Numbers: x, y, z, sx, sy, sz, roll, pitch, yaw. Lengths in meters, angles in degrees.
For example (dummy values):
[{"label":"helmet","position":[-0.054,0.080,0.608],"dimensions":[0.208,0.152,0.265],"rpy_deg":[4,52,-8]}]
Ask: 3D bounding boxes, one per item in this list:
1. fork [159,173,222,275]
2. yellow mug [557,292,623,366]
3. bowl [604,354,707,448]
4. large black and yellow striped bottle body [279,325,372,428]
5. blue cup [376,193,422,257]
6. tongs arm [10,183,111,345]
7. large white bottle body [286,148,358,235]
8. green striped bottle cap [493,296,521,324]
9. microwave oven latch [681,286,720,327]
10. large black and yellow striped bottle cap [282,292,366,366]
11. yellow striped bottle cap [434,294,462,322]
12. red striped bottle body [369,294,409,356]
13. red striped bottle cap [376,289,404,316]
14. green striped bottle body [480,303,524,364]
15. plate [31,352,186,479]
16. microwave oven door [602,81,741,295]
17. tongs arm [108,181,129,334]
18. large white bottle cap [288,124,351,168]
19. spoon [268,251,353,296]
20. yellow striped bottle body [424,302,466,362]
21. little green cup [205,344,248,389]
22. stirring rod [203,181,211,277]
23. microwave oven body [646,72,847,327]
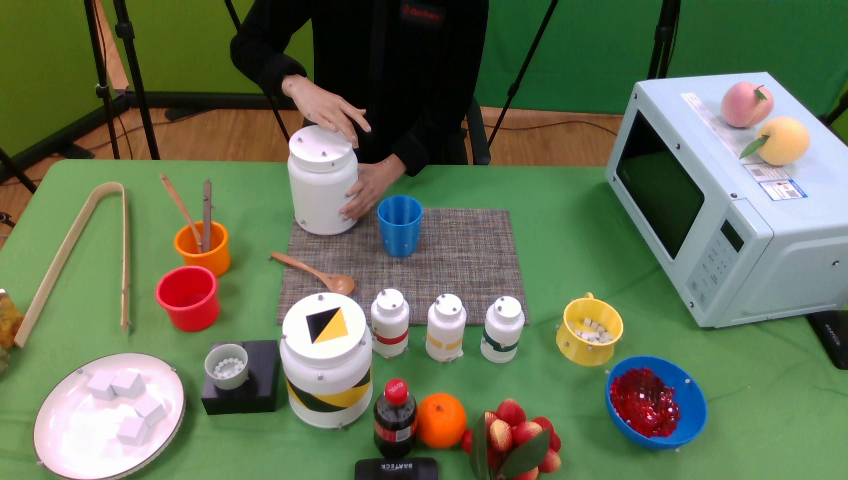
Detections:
[{"label":"fork","position":[-0.427,-0.029,1.103],"dimensions":[0.028,0.018,0.207],"rpy_deg":[-31,99,-31]},{"label":"yellow mug","position":[0.285,0.145,1.051],"dimensions":[0.100,0.064,0.130],"rpy_deg":[7,46,4]},{"label":"bowl","position":[0.346,0.261,0.937],"dimensions":[0.151,0.077,0.150],"rpy_deg":[2,46,-2]},{"label":"large black and yellow striped bottle body","position":[-0.143,0.181,0.900],"dimensions":[0.131,0.185,0.130],"rpy_deg":[2,46,-2]},{"label":"blue cup","position":[-0.047,-0.022,1.155],"dimensions":[0.093,0.101,0.092],"rpy_deg":[1,47,-1]},{"label":"tongs arm","position":[-0.658,0.027,1.109],"dimensions":[0.028,0.028,0.385],"rpy_deg":[-2,45,1]},{"label":"large white bottle body","position":[-0.196,-0.114,1.173],"dimensions":[0.131,0.185,0.130],"rpy_deg":[2,47,-2]},{"label":"green striped bottle cap","position":[0.133,0.111,0.962],"dimensions":[0.044,0.020,0.044],"rpy_deg":[2,47,-2]},{"label":"microwave oven latch","position":[0.494,0.119,1.086],"dimensions":[0.030,0.029,0.078],"rpy_deg":[-5,46,-9]},{"label":"large black and yellow striped bottle cap","position":[-0.138,0.121,0.841],"dimensions":[0.115,0.019,0.114],"rpy_deg":[3,47,-3]},{"label":"yellow striped bottle cap","position":[0.038,0.107,0.958],"dimensions":[0.044,0.019,0.044],"rpy_deg":[2,45,-2]},{"label":"red striped bottle body","position":[-0.059,0.134,0.997],"dimensions":[0.063,0.120,0.062],"rpy_deg":[5,48,-5]},{"label":"red striped bottle cap","position":[-0.054,0.098,0.958],"dimensions":[0.044,0.018,0.044],"rpy_deg":[0,48,1]},{"label":"green striped bottle body","position":[0.129,0.147,1.000],"dimensions":[0.063,0.120,0.063],"rpy_deg":[2,46,-2]},{"label":"plate","position":[-0.459,0.262,0.898],"dimensions":[0.209,0.038,0.208],"rpy_deg":[2,46,-2]},{"label":"microwave oven door","position":[0.456,-0.107,1.162],"dimensions":[0.039,0.245,0.353],"rpy_deg":[-7,47,-11]},{"label":"tongs arm","position":[-0.571,0.019,1.123],"dimensions":[0.051,0.026,0.382],"rpy_deg":[-10,47,-12]},{"label":"large white bottle cap","position":[-0.192,-0.174,1.113],"dimensions":[0.115,0.018,0.114],"rpy_deg":[2,46,-2]},{"label":"spoon","position":[-0.212,0.057,1.121],"dimensions":[0.193,0.022,0.041],"rpy_deg":[24,74,18]},{"label":"yellow striped bottle body","position":[0.035,0.143,0.995],"dimensions":[0.063,0.121,0.062],"rpy_deg":[3,46,-3]},{"label":"little green cup","position":[-0.294,0.191,0.909],"dimensions":[0.061,0.039,0.061],"rpy_deg":[1,47,-1]},{"label":"stirring rod","position":[-0.396,-0.021,1.107],"dimensions":[0.014,0.006,0.176],"rpy_deg":[-1,89,-1]},{"label":"microwave oven body","position":[0.607,-0.089,1.164],"dimensions":[0.326,0.261,0.438],"rpy_deg":[-7,46,-10]}]
